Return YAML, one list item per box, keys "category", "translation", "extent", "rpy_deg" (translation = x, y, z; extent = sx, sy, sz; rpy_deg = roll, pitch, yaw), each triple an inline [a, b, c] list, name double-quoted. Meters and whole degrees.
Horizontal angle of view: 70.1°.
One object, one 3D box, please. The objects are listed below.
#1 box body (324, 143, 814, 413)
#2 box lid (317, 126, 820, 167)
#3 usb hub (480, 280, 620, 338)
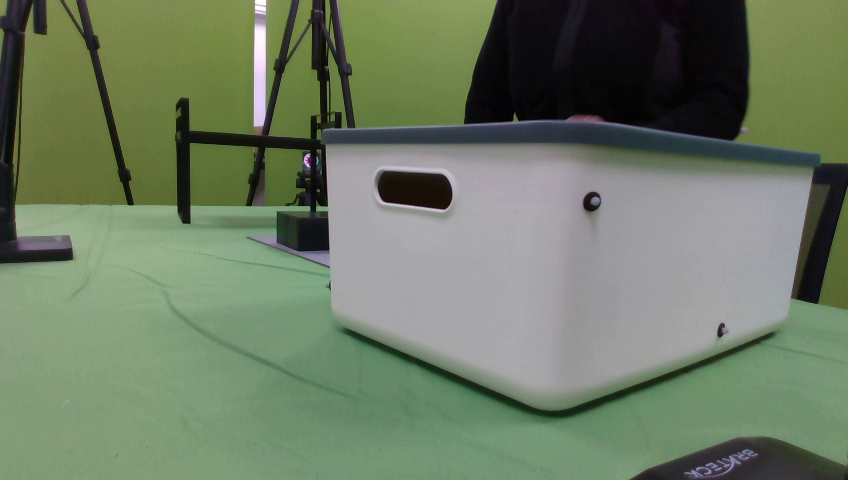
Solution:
- category: "box body"
  translation: [0.125, -0.001, 0.510]
  extent: [0.366, 0.160, 0.253]
  rpy_deg: [-4, 10, -40]
- category: "box lid"
  translation: [0.129, -0.073, 0.502]
  extent: [0.374, 0.015, 0.262]
  rpy_deg: [-4, 10, -40]
- category: "usb hub"
  translation: [0.111, 0.057, 0.525]
  extent: [0.126, 0.025, 0.049]
  rpy_deg: [-5, 13, -35]
